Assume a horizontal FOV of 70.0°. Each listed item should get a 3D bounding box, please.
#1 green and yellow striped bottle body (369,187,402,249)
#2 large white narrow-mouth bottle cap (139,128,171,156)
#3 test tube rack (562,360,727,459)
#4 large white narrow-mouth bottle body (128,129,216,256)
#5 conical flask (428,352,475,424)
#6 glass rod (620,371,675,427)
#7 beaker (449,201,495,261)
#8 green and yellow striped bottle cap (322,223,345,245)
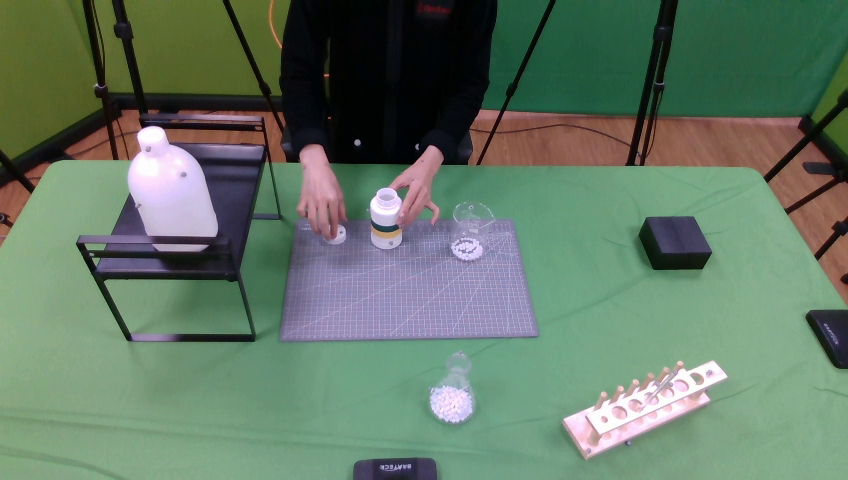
[{"bbox_3d":[-0.073,-0.044,1.162,0.063,0.120,0.063,2,46,-2],"label":"green and yellow striped bottle body"},{"bbox_3d":[-0.358,-0.131,0.808,0.038,0.024,0.037,3,47,-3],"label":"large white narrow-mouth bottle cap"},{"bbox_3d":[0.341,0.247,0.940,0.243,0.085,0.066,-16,49,-18],"label":"test tube rack"},{"bbox_3d":[-0.366,-0.073,0.872,0.102,0.195,0.101,3,47,-3],"label":"large white narrow-mouth bottle body"},{"bbox_3d":[0.046,0.220,0.920,0.075,0.122,0.075,2,46,-2],"label":"conical flask"},{"bbox_3d":[0.316,0.230,0.863,0.008,0.200,0.008,3,54,-3],"label":"glass rod"},{"bbox_3d":[0.089,-0.014,1.161,0.084,0.101,0.073,8,47,4],"label":"beaker"},{"bbox_3d":[-0.179,-0.013,1.197,0.045,0.020,0.045,2,48,-2],"label":"green and yellow striped bottle cap"}]
